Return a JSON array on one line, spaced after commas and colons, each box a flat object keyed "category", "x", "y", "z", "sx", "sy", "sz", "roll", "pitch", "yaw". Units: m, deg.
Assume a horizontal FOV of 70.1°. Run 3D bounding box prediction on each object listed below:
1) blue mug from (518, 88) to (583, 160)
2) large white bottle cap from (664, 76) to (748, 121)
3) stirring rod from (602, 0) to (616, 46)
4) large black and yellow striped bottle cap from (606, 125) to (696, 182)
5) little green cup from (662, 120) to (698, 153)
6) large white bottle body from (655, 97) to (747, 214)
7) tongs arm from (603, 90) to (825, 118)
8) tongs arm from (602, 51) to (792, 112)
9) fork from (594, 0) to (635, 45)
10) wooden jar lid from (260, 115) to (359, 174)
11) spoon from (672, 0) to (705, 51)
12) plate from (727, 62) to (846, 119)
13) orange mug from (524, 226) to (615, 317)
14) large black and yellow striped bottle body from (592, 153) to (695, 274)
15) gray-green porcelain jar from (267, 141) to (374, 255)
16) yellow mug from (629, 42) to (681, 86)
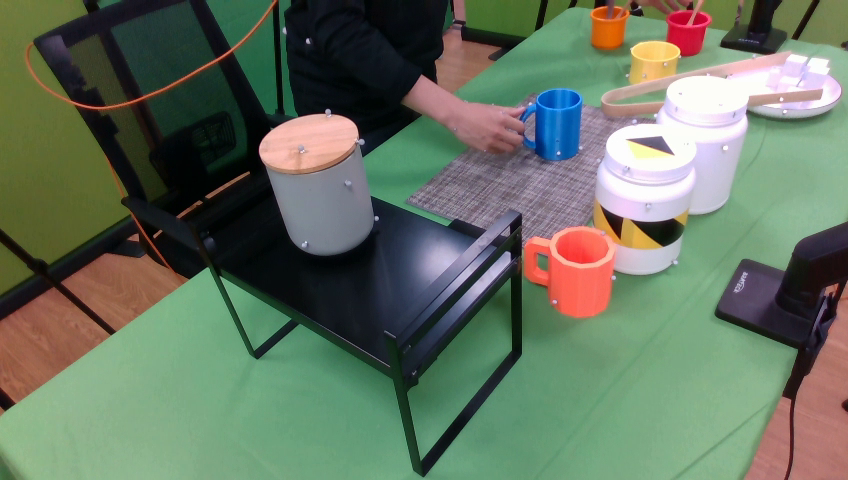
[{"category": "blue mug", "x": 0.233, "y": -0.213, "z": 1.121, "sx": 0.116, "sy": 0.106, "sz": 0.082, "roll": -6, "pitch": 41, "yaw": 3}, {"category": "large white bottle cap", "x": 0.421, "y": -0.212, "z": 0.905, "sx": 0.115, "sy": 0.018, "sz": 0.114, "roll": -4, "pitch": 40, "yaw": 4}, {"category": "stirring rod", "x": 0.453, "y": -0.554, "z": 1.464, "sx": 0.014, "sy": 0.006, "sz": 0.176, "roll": 11, "pitch": 86, "yaw": 14}, {"category": "large black and yellow striped bottle cap", "x": 0.305, "y": -0.119, "z": 0.816, "sx": 0.115, "sy": 0.019, "sz": 0.114, "roll": -5, "pitch": 41, "yaw": 5}, {"category": "little green cup", "x": 0.469, "y": -0.191, "z": 1.117, "sx": 0.061, "sy": 0.039, "sz": 0.061, "roll": -5, "pitch": 41, "yaw": 5}, {"category": "large white bottle body", "x": 0.431, "y": -0.148, "z": 0.959, "sx": 0.130, "sy": 0.185, "sz": 0.130, "roll": -4, "pitch": 41, "yaw": 4}, {"category": "tongs arm", "x": 0.546, "y": -0.262, "z": 1.163, "sx": 0.386, "sy": 0.028, "sz": 0.028, "roll": -1, "pitch": 49, "yaw": 18}, {"category": "tongs arm", "x": 0.552, "y": -0.320, "z": 1.224, "sx": 0.384, "sy": 0.027, "sz": 0.050, "roll": -10, "pitch": 43, "yaw": 7}, {"category": "fork", "x": 0.485, "y": -0.552, "z": 1.447, "sx": 0.207, "sy": 0.019, "sz": 0.028, "roll": -51, "pitch": 46, "yaw": 17}, {"category": "wooden jar lid", "x": -0.124, "y": -0.101, "z": 0.662, "sx": 0.108, "sy": 0.021, "sz": 0.108, "roll": -4, "pitch": 41, "yaw": 4}, {"category": "spoon", "x": 0.628, "y": -0.521, "z": 1.395, "sx": 0.041, "sy": 0.022, "sz": 0.193, "roll": 30, "pitch": 97, "yaw": 39}, {"category": "plate", "x": 0.709, "y": -0.292, "z": 1.197, "sx": 0.207, "sy": 0.039, "sz": 0.206, "roll": -4, "pitch": 40, "yaw": 4}, {"category": "orange mug", "x": 0.201, "y": 0.038, "z": 0.845, "sx": 0.125, "sy": 0.101, "sz": 0.083, "roll": 18, "pitch": 46, "yaw": 21}, {"category": "large black and yellow striped bottle body", "x": 0.313, "y": -0.056, "z": 0.872, "sx": 0.131, "sy": 0.185, "sz": 0.130, "roll": -4, "pitch": 41, "yaw": 4}, {"category": "gray-green porcelain jar", "x": -0.117, "y": -0.054, "z": 0.703, "sx": 0.106, "sy": 0.127, "sz": 0.105, "roll": -4, "pitch": 40, "yaw": 4}, {"category": "yellow mug", "x": 0.495, "y": -0.389, "z": 1.321, "sx": 0.100, "sy": 0.064, "sz": 0.130, "roll": -14, "pitch": 40, "yaw": -7}]
